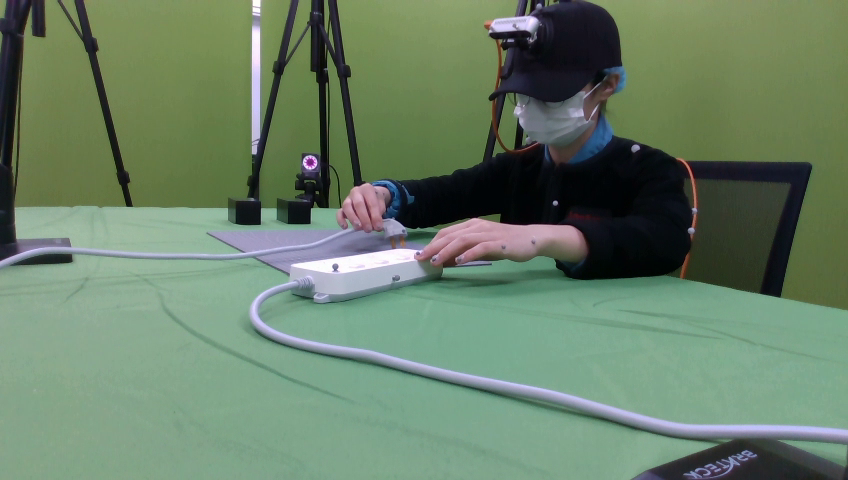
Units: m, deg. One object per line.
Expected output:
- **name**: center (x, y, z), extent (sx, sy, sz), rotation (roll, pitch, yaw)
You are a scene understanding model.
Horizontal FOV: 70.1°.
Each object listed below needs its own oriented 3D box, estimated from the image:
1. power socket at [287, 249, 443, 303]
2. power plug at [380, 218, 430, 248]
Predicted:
- **power socket**: center (-0.059, 0.035, 0.688), extent (0.072, 0.032, 0.228), rotation (6, 8, 34)
- **power plug**: center (-0.029, -0.013, 0.908), extent (0.072, 0.035, 0.053), rotation (8, -6, 37)
